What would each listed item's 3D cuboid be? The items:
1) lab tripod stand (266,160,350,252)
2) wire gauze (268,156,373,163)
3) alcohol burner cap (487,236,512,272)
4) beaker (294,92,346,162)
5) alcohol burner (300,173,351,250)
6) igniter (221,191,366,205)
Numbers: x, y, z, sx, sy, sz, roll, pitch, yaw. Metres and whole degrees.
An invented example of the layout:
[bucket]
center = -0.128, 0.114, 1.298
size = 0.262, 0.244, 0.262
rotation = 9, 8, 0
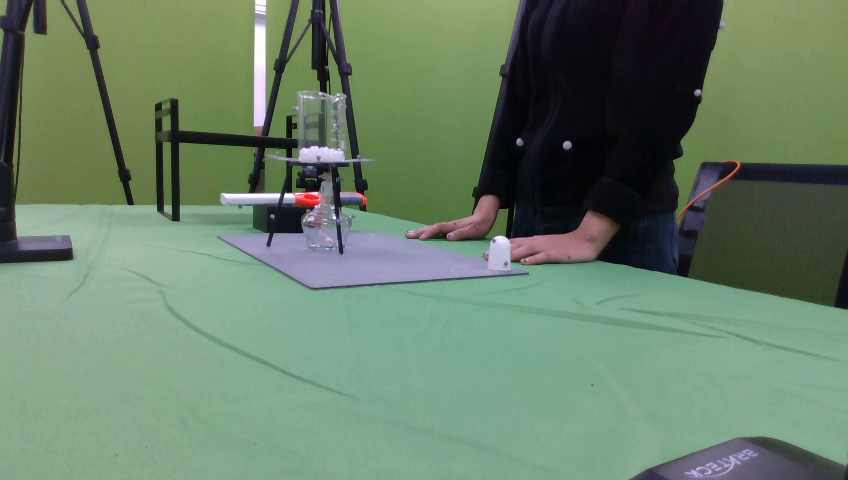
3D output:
[lab tripod stand]
center = -0.164, -0.054, 0.915
size = 0.148, 0.131, 0.148
rotation = 2, 9, 0
[wire gauze]
center = -0.154, -0.119, 0.910
size = 0.122, 0.011, 0.124
rotation = -4, 8, -45
[alcohol burner cap]
center = 0.101, 0.019, 0.802
size = 0.034, 0.048, 0.034
rotation = 2, 7, 0
[beaker]
center = -0.152, -0.165, 0.896
size = 0.074, 0.100, 0.083
rotation = -4, 10, -33
[alcohol burner]
center = -0.149, -0.044, 0.921
size = 0.078, 0.119, 0.078
rotation = 4, 7, 0
[igniter]
center = -0.240, -0.078, 1.150
size = 0.278, 0.025, 0.057
rotation = -3, 20, -32
